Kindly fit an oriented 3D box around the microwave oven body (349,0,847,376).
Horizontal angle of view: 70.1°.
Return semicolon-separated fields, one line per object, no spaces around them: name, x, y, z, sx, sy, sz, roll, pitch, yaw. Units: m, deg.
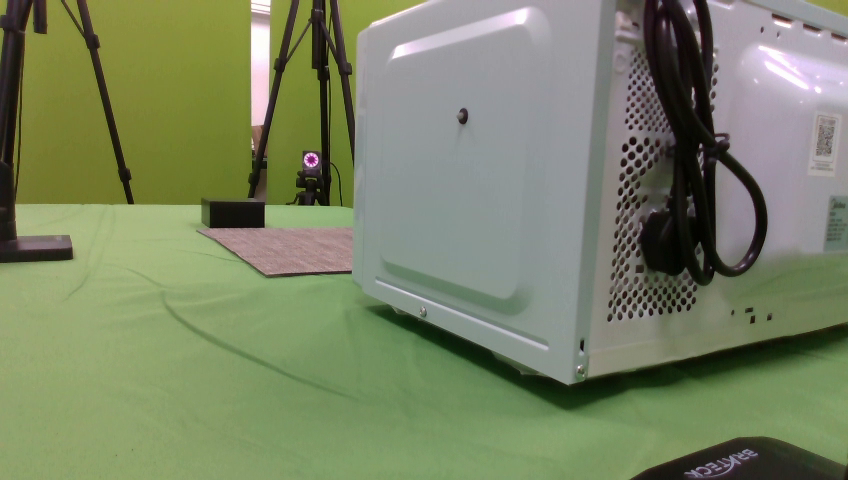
microwave oven body;0.199;-0.053;0.540;0.444;0.260;0.324;-1;7;-32

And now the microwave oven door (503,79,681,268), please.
microwave oven door;0.235;-0.105;0.926;0.039;0.243;0.354;-1;8;-24

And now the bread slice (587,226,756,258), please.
bread slice;0.225;0.000;0.570;0.132;0.019;0.104;3;5;-23

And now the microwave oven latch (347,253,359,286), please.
microwave oven latch;-0.034;0.028;0.581;0.079;0.029;0.030;-1;7;-32

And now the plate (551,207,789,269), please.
plate;0.224;-0.004;0.572;0.209;0.038;0.209;3;7;0
